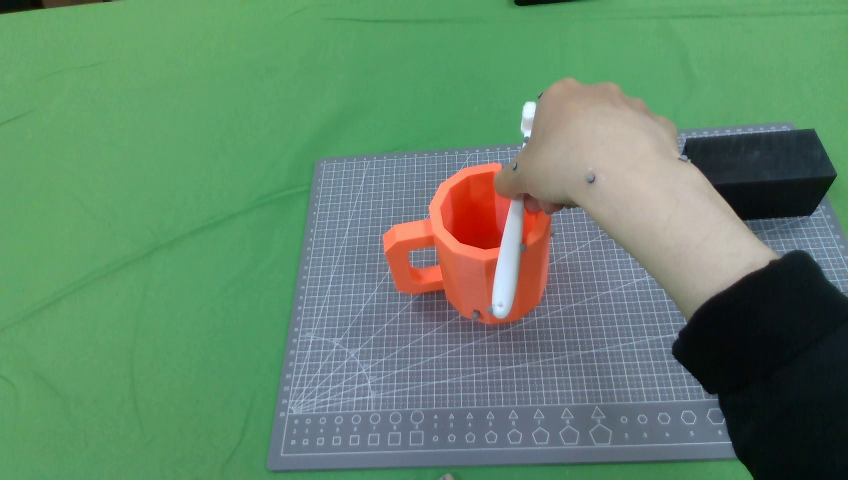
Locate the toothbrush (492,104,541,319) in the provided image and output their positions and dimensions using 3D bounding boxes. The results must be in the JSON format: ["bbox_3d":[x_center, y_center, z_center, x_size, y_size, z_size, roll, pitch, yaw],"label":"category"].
[{"bbox_3d":[0.065,-0.027,0.416,0.014,0.017,0.180,8,57,11],"label":"toothbrush"}]

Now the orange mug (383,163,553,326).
[{"bbox_3d":[0.035,0.008,0.460,0.126,0.102,0.082,-8,55,-2],"label":"orange mug"}]
